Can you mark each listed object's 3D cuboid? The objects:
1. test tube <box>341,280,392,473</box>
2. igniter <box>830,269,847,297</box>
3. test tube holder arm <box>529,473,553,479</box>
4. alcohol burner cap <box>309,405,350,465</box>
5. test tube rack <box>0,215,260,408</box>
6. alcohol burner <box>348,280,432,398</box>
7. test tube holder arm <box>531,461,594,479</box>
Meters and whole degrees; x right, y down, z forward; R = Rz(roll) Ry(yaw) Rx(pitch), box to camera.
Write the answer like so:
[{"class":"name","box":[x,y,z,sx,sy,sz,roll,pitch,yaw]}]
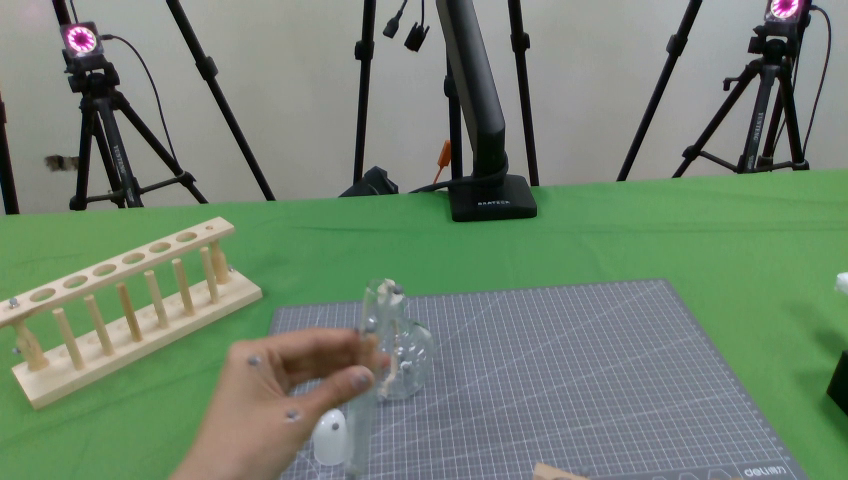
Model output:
[{"class":"test tube","box":[-0.037,0.089,0.371,0.017,0.151,0.017,8,29,-4]},{"class":"igniter","box":[0.430,0.099,0.485,0.057,0.025,0.274,-5,28,-2]},{"class":"test tube holder arm","box":[0.104,0.154,0.353,0.087,0.015,0.010,9,76,26]},{"class":"alcohol burner cap","box":[-0.079,0.157,0.499,0.034,0.048,0.033,-1,32,1]},{"class":"test tube rack","box":[-0.301,0.064,0.631,0.242,0.086,0.066,-28,40,-36]},{"class":"alcohol burner","box":[-0.032,0.084,0.546,0.078,0.120,0.077,-1,33,1]},{"class":"test tube holder arm","box":[0.146,0.155,0.335,0.177,0.015,0.013,9,76,26]}]
